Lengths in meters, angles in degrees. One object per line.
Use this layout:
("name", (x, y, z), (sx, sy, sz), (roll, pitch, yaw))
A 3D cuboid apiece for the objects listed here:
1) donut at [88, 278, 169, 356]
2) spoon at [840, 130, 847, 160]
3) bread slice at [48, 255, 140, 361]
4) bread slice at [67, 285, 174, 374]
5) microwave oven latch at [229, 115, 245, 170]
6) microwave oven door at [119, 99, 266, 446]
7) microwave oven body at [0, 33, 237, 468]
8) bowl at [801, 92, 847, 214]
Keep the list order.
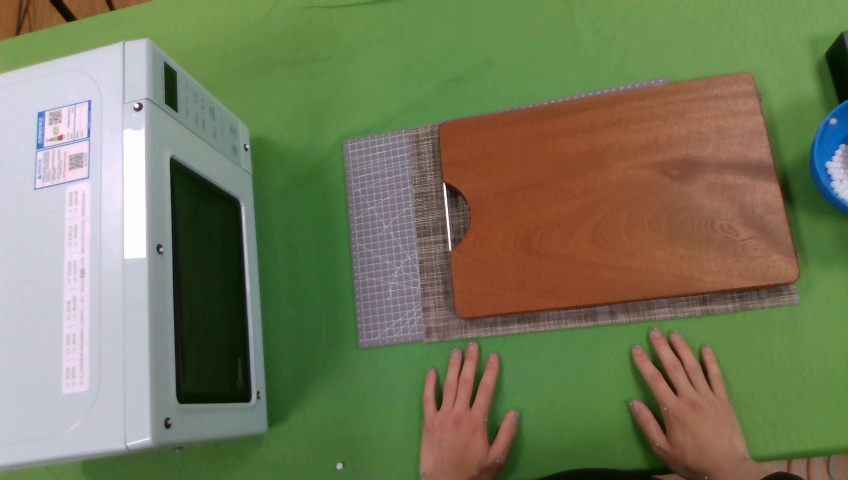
("donut", (-0.369, 0.096, 0.756), (0.099, 0.048, 0.099), (0, 91, -1))
("spoon", (0.505, -0.049, 0.652), (0.041, 0.022, 0.191), (-9, 52, 7))
("bread slice", (-0.390, 0.089, 0.713), (0.134, 0.018, 0.106), (-20, 75, 20))
("bread slice", (-0.397, 0.111, 0.783), (0.131, 0.019, 0.104), (8, 82, 8))
("microwave oven latch", (-0.274, -0.137, 0.860), (0.030, 0.030, 0.078), (-11, 76, 8))
("microwave oven door", (-0.265, 0.048, 0.708), (0.039, 0.245, 0.353), (-11, 75, 9))
("microwave oven body", (-0.412, 0.036, 0.745), (0.326, 0.262, 0.439), (-11, 76, 8))
("bowl", (0.504, -0.089, 0.693), (0.151, 0.077, 0.150), (-2, 77, 11))
